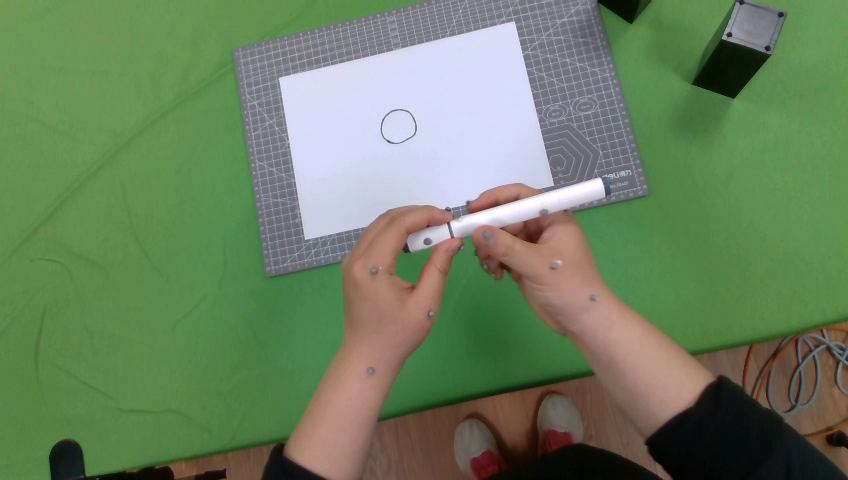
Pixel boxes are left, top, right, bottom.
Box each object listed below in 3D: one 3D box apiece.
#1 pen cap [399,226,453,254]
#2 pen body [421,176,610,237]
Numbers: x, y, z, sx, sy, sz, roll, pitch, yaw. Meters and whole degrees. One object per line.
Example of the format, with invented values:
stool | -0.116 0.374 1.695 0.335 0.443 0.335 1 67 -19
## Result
pen cap | 0.001 -0.001 0.438 0.038 0.017 0.017 -15 78 -7
pen body | 0.060 -0.020 0.433 0.144 0.017 0.017 -14 78 6
